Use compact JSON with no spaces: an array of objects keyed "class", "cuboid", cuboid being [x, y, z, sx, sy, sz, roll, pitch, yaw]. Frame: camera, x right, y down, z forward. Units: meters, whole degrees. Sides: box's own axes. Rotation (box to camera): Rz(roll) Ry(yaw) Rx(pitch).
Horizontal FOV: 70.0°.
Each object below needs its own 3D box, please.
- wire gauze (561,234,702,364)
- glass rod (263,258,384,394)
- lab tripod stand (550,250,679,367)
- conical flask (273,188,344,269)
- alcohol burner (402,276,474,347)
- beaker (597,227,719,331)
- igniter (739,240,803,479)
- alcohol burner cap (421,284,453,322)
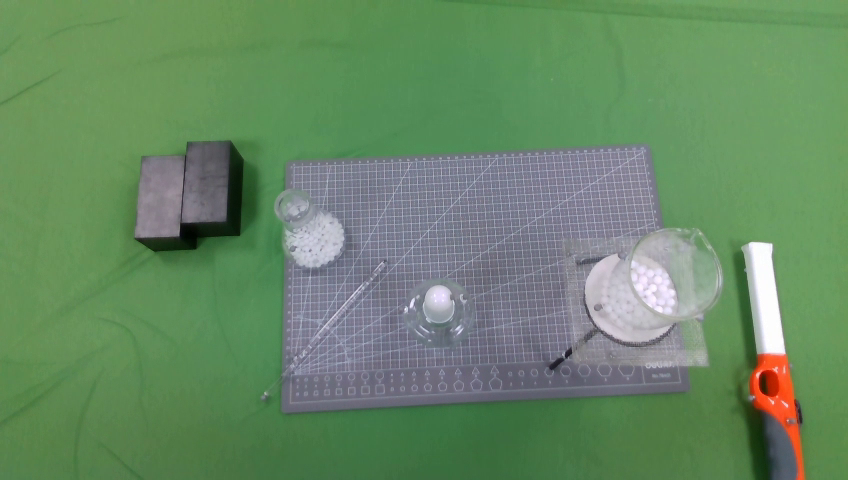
[{"class":"wire gauze","cuboid":[0.193,0.054,0.565,0.125,0.011,0.121,0,77,-1]},{"class":"glass rod","cuboid":[-0.111,0.095,0.685,0.008,0.008,0.199,39,77,11]},{"class":"lab tripod stand","cuboid":[0.193,0.075,0.628,0.148,0.132,0.147,0,75,0]},{"class":"conical flask","cuboid":[-0.132,-0.018,0.659,0.075,0.122,0.075,0,73,0]},{"class":"alcohol burner","cuboid":[0.014,0.072,0.638,0.078,0.120,0.077,-1,74,2]},{"class":"beaker","cuboid":[0.196,0.036,0.520,0.074,0.101,0.084,32,77,8]},{"class":"igniter","cuboid":[0.381,0.134,0.669,0.057,0.025,0.275,5,74,-10]},{"class":"alcohol burner cap","cuboid":[0.013,0.060,0.604,0.034,0.048,0.033,0,67,0]}]
